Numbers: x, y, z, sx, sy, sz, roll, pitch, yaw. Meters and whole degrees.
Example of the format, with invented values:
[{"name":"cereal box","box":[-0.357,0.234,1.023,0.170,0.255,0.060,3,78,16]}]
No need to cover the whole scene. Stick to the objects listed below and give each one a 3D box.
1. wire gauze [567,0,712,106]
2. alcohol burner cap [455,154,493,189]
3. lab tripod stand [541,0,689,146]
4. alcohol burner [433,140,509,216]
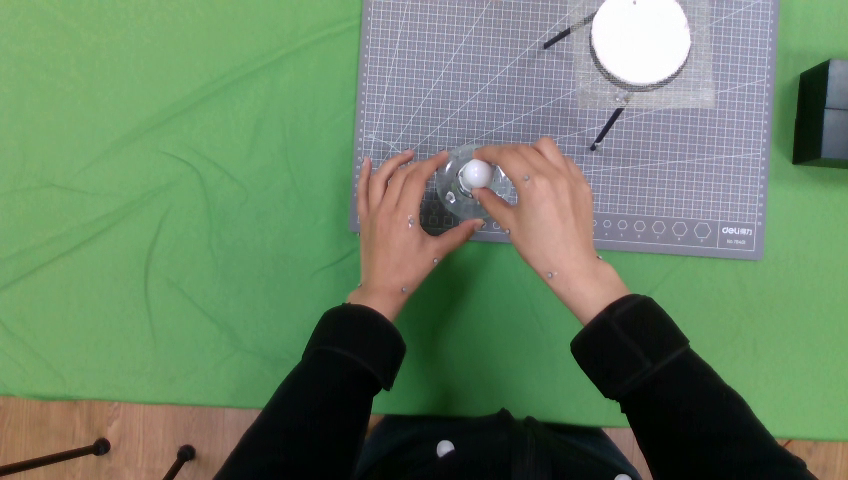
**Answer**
[{"name":"wire gauze","box":[0.187,-0.176,0.524,0.125,0.011,0.121,-2,90,-1]},{"name":"alcohol burner cap","box":[0.048,-0.066,0.564,0.034,0.048,0.034,0,90,-4]},{"name":"lab tripod stand","box":[0.189,-0.177,0.590,0.148,0.131,0.148,0,88,-1]},{"name":"alcohol burner","box":[0.048,-0.063,0.600,0.078,0.119,0.078,0,88,-2]}]
